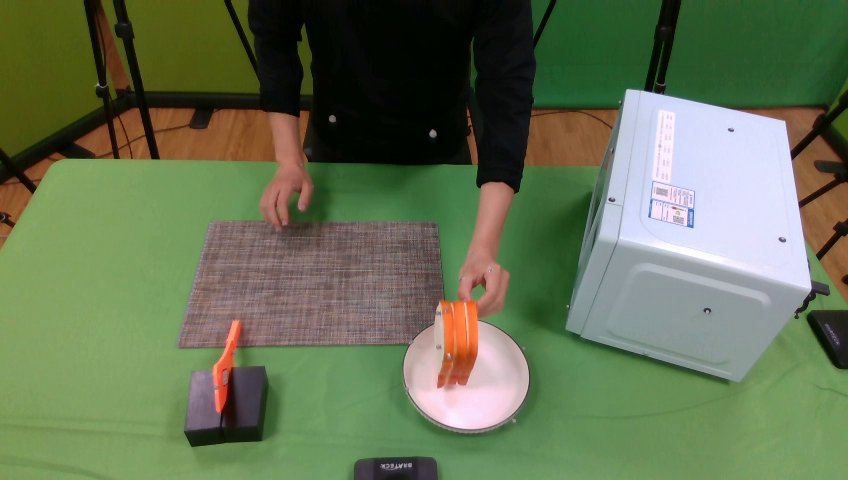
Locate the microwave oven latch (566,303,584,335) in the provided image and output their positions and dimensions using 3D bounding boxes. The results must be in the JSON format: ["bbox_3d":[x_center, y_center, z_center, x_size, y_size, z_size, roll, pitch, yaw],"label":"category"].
[{"bbox_3d":[0.268,0.126,1.059,0.030,0.029,0.079,16,46,12],"label":"microwave oven latch"}]

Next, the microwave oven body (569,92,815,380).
[{"bbox_3d":[0.468,-0.022,1.082,0.325,0.261,0.440,15,46,11],"label":"microwave oven body"}]

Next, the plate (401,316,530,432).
[{"bbox_3d":[0.066,0.217,0.982,0.208,0.039,0.206,2,46,-2],"label":"plate"}]

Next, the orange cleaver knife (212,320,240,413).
[{"bbox_3d":[-0.306,0.190,0.944,0.012,0.077,0.210,-5,17,-7],"label":"orange cleaver knife"}]

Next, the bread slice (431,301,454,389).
[{"bbox_3d":[0.028,0.153,0.923,0.018,0.135,0.106,-1,56,-6],"label":"bread slice"}]

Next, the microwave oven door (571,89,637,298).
[{"bbox_3d":[0.343,-0.091,1.133,0.039,0.245,0.354,15,47,10],"label":"microwave oven door"}]
